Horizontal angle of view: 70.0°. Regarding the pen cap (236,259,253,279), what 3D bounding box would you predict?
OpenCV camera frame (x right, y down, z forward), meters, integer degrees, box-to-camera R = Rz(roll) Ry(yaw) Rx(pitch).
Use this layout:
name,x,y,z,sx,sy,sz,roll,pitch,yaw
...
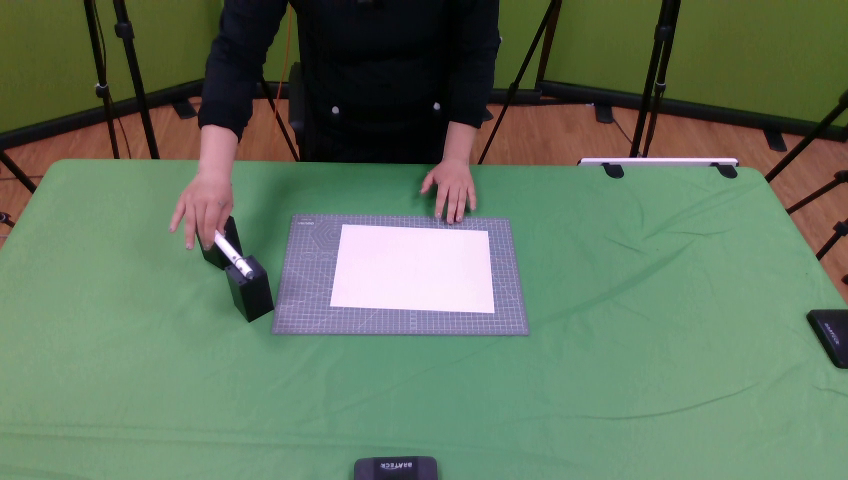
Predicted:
name,x,y,z,sx,sy,sz,roll,pitch,yaw
pen cap,-0.295,0.047,0.993,0.017,0.017,0.038,-29,55,-28

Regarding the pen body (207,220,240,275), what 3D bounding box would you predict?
name,x,y,z,sx,sy,sz,roll,pitch,yaw
pen body,-0.337,0.013,1.025,0.017,0.017,0.143,-23,49,-24
